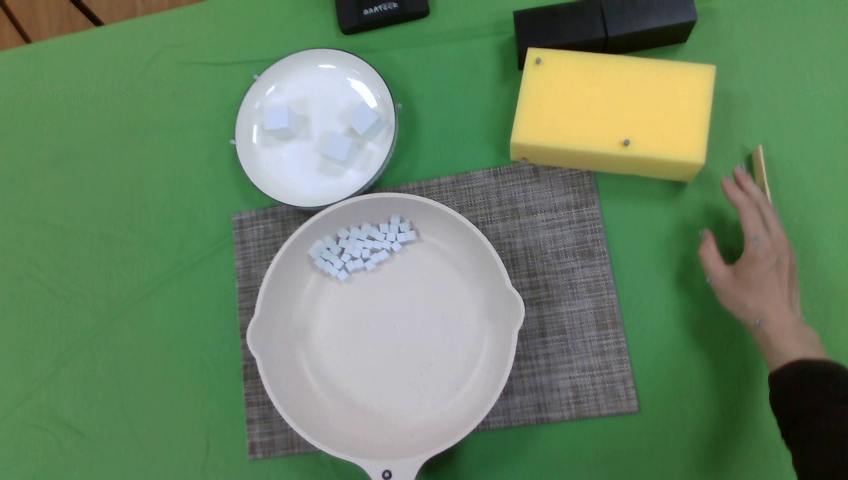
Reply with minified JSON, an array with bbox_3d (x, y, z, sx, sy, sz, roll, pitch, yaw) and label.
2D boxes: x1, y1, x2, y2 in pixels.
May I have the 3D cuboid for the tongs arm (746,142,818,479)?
[{"bbox_3d":[0.388,0.080,0.646,0.028,0.028,0.385,-6,79,6],"label":"tongs arm"}]

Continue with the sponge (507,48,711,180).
[{"bbox_3d":[0.207,-0.145,0.695,0.206,0.061,0.118,8,79,11],"label":"sponge"}]

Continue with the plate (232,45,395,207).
[{"bbox_3d":[-0.135,-0.140,0.760,0.207,0.039,0.207,-2,80,9],"label":"plate"}]

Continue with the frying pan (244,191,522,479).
[{"bbox_3d":[-0.038,0.191,0.646,0.306,0.103,0.484,-6,70,8],"label":"frying pan"}]
